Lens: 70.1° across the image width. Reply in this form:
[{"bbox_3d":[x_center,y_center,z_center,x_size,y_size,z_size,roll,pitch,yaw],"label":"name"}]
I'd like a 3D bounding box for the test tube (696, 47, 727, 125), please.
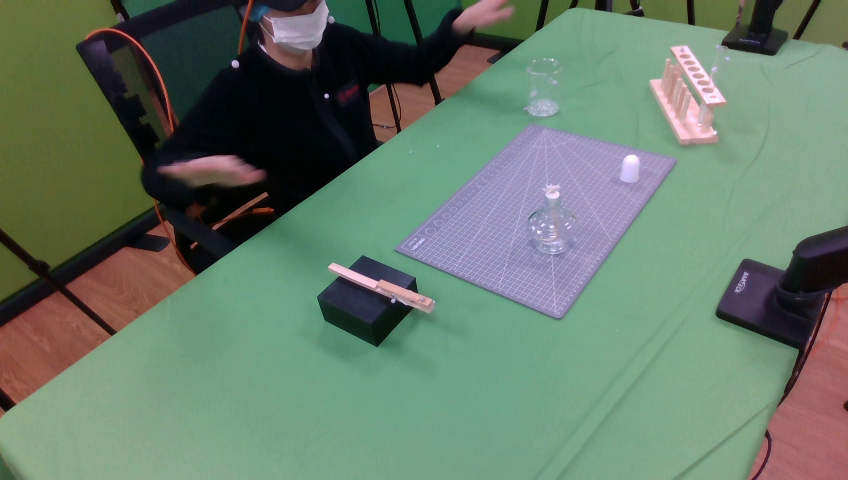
[{"bbox_3d":[0.519,-0.276,1.094,0.017,0.151,0.017,-1,42,1],"label":"test tube"}]

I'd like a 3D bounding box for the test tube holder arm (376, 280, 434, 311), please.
[{"bbox_3d":[-0.026,0.074,0.811,0.087,0.010,0.015,19,47,29],"label":"test tube holder arm"}]

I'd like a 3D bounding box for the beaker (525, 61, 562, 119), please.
[{"bbox_3d":[0.248,-0.309,1.245,0.073,0.101,0.084,29,52,36],"label":"beaker"}]

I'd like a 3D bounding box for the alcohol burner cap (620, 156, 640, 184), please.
[{"bbox_3d":[0.358,-0.124,1.047,0.034,0.048,0.033,-4,40,4],"label":"alcohol burner cap"}]

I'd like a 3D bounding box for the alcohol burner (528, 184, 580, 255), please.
[{"bbox_3d":[0.196,-0.036,0.911,0.078,0.119,0.077,-6,41,5],"label":"alcohol burner"}]

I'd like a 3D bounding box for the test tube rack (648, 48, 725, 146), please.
[{"bbox_3d":[0.508,-0.285,1.186,0.067,0.085,0.241,-4,40,6],"label":"test tube rack"}]

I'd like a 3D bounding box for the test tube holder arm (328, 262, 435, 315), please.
[{"bbox_3d":[-0.062,0.065,0.836,0.177,0.013,0.015,20,47,28],"label":"test tube holder arm"}]
